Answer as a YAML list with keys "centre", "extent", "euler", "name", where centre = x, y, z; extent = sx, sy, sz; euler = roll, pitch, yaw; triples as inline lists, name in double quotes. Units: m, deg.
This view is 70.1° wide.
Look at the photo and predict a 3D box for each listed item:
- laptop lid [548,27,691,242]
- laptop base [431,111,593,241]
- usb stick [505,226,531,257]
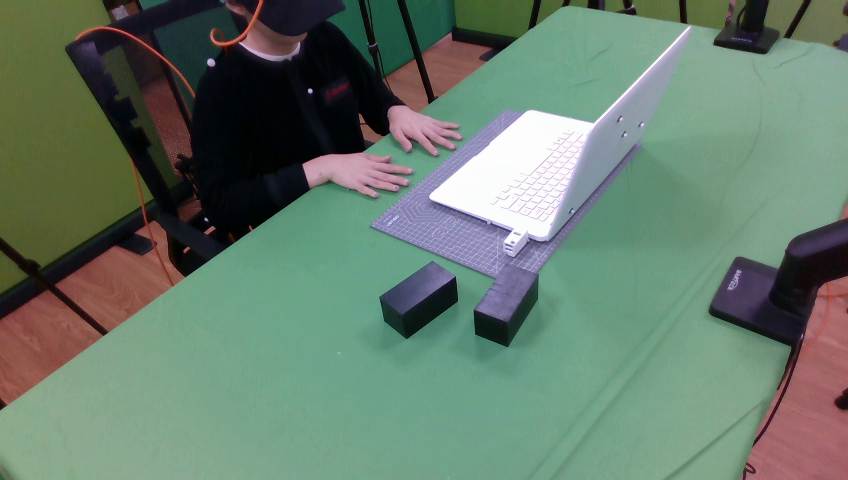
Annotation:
- centre: [0.310, -0.168, 0.950]
  extent: [0.013, 0.242, 0.358]
  euler: [33, 52, 20]
  name: "laptop lid"
- centre: [0.207, -0.129, 1.100]
  extent: [0.233, 0.023, 0.355]
  euler: [20, 47, 34]
  name: "laptop base"
- centre: [0.150, -0.002, 0.940]
  extent: [0.021, 0.027, 0.059]
  euler: [22, 46, 31]
  name: "usb stick"
